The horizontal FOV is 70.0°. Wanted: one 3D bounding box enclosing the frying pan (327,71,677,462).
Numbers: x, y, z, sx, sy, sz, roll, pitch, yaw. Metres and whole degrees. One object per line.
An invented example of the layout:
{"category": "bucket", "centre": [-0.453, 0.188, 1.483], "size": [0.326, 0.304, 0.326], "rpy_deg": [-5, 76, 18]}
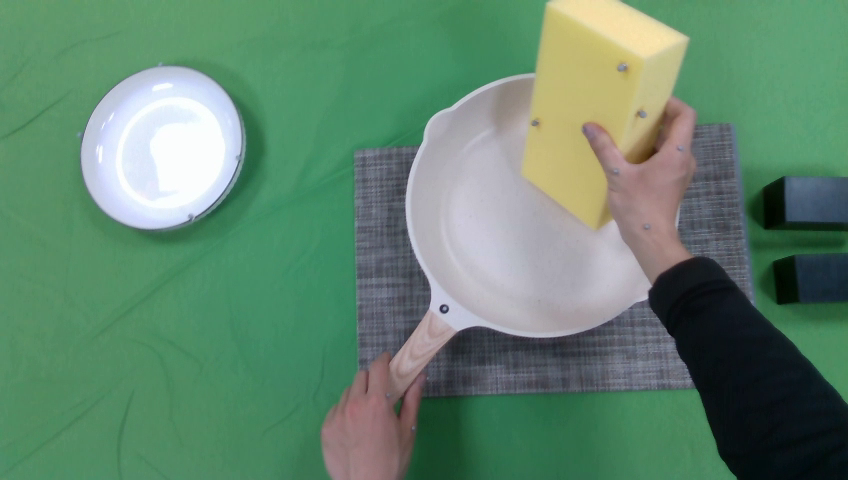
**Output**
{"category": "frying pan", "centre": [0.059, 0.036, 0.662], "size": [0.305, 0.103, 0.487], "rpy_deg": [39, 78, 10]}

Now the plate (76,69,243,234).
{"category": "plate", "centre": [-0.323, -0.107, 0.755], "size": [0.207, 0.039, 0.207], "rpy_deg": [-1, 82, 5]}

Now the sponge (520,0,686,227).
{"category": "sponge", "centre": [0.169, -0.129, 0.614], "size": [0.061, 0.209, 0.117], "rpy_deg": [-30, 54, -24]}
